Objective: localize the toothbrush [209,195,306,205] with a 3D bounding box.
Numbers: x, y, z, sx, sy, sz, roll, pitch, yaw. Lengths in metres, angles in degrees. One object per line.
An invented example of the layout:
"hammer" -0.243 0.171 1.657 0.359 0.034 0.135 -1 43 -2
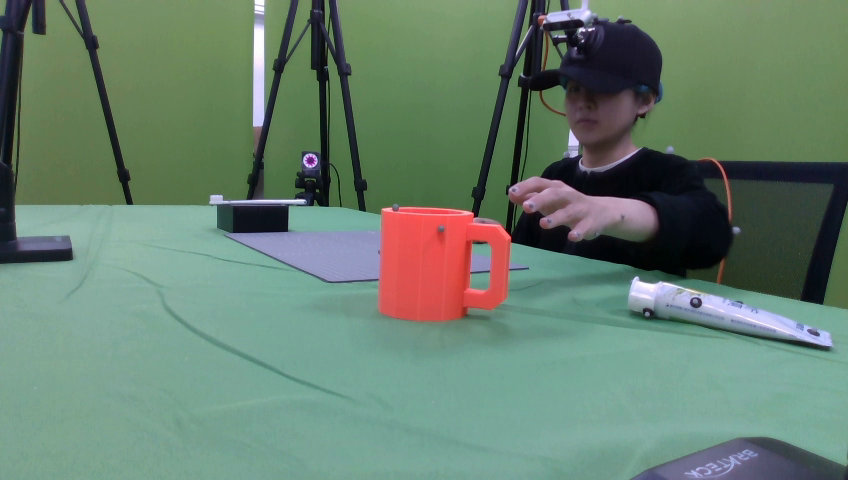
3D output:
"toothbrush" -0.303 -0.073 1.117 0.183 0.016 0.014 -2 5 -36

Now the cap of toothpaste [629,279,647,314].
"cap of toothpaste" 0.209 0.055 0.589 0.011 0.037 0.037 11 11 29

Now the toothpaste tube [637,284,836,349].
"toothpaste tube" 0.275 0.070 0.550 0.164 0.034 0.055 11 15 28

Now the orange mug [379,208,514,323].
"orange mug" 0.019 0.021 0.557 0.126 0.100 0.084 1 6 20
